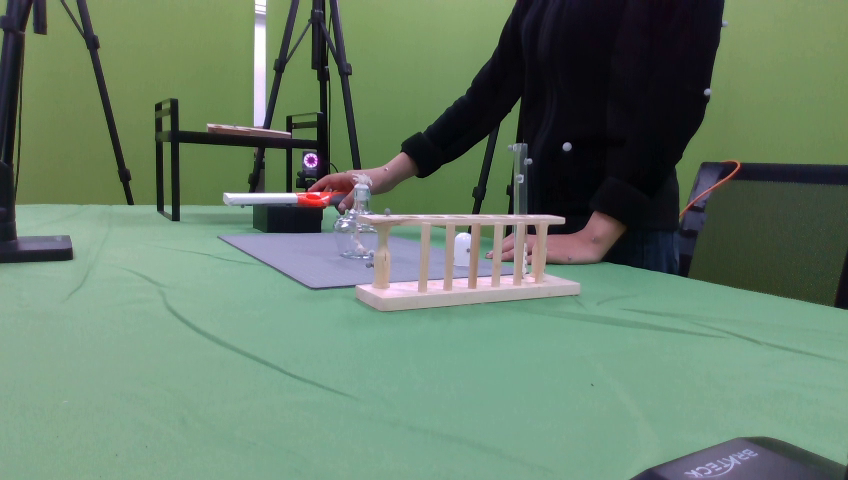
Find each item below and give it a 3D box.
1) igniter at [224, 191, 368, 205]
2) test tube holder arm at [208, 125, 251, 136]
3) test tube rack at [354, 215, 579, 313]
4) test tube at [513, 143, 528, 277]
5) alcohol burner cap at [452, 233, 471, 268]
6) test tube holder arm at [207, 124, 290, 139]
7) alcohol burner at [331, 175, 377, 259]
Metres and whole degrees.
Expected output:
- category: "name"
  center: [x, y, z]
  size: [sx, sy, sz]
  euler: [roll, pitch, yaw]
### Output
- category: "igniter"
  center: [-0.237, -0.080, 1.157]
  size: [0.278, 0.025, 0.057]
  euler: [-3, 21, -31]
- category: "test tube holder arm"
  center: [-0.418, -0.234, 1.299]
  size: [0.088, 0.015, 0.010]
  euler: [1, 41, -31]
- category: "test tube rack"
  center: [0.053, 0.019, 0.635]
  size: [0.243, 0.085, 0.066]
  euler: [-1, 8, -29]
- category: "test tube"
  center: [0.108, -0.033, 0.677]
  size: [0.017, 0.150, 0.017]
  euler: [-1, 8, 1]
- category: "alcohol burner cap"
  center: [0.053, 0.014, 0.823]
  size: [0.034, 0.048, 0.034]
  euler: [3, 6, 0]
- category: "test tube holder arm"
  center: [-0.381, -0.237, 1.327]
  size: [0.179, 0.015, 0.013]
  euler: [0, 42, -32]
- category: "alcohol burner"
  center: [-0.091, -0.033, 0.855]
  size: [0.078, 0.119, 0.078]
  euler: [4, 8, 0]
